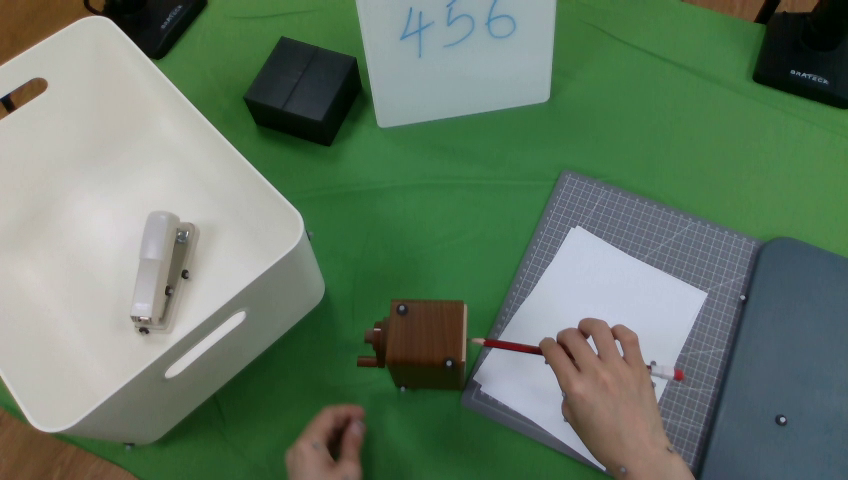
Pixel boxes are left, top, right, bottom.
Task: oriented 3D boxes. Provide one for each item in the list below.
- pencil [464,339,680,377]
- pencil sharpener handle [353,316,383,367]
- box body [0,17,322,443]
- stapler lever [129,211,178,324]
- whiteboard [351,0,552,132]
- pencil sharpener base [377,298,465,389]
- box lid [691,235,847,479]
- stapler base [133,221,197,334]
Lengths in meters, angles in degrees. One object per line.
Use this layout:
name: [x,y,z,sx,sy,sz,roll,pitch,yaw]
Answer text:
pencil: [0.130,0.102,0.529,0.194,0.012,0.012,9,65,-4]
pencil sharpener handle: [-0.053,0.097,0.562,0.030,0.068,0.035,2,48,3]
box body: [-0.305,-0.011,0.603,0.254,0.161,0.361,-42,70,-16]
stapler lever: [-0.281,0.026,0.627,0.027,0.040,0.117,3,68,5]
whiteboard: [0.024,-0.305,0.686,0.217,0.308,0.142,-9,45,-2]
pencil sharpener base: [-0.001,0.100,0.573,0.076,0.108,0.061,2,65,3]
box lid: [0.411,0.184,0.574,0.262,0.015,0.370,22,68,11]
stapler base: [-0.281,0.035,0.652,0.041,0.024,0.129,3,67,5]
